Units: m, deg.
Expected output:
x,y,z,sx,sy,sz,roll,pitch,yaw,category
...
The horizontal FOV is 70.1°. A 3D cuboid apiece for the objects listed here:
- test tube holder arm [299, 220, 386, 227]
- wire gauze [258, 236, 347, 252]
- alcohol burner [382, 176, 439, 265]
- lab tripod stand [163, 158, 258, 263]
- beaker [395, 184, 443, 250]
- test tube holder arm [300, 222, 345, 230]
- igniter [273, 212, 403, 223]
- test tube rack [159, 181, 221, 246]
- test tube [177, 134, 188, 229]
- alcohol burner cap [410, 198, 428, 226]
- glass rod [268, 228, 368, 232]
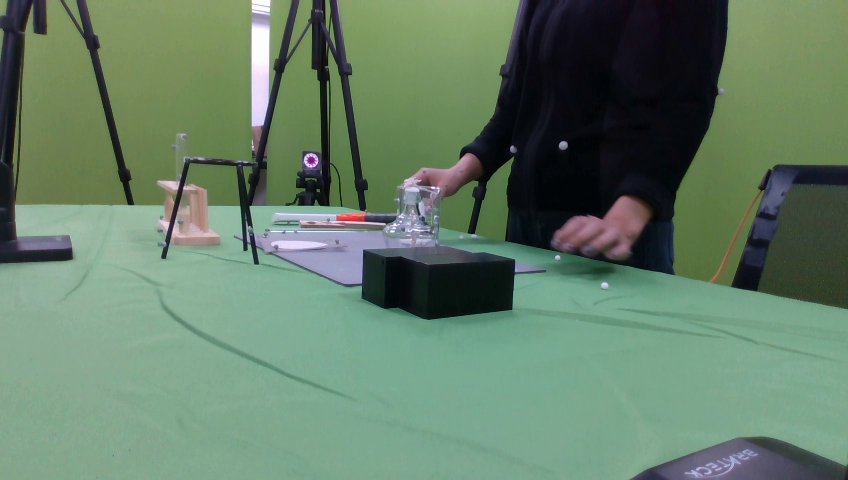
x,y,z,sx,sy,sz,roll,pitch,yaw,category
-0.159,-0.032,1.196,0.179,0.015,0.013,-2,44,-29,test tube holder arm
-0.189,0.005,0.931,0.122,0.011,0.124,1,7,-21,wire gauze
-0.018,-0.027,0.818,0.078,0.119,0.078,3,10,0,alcohol burner
-0.265,-0.041,0.802,0.148,0.131,0.148,4,6,0,lab tripod stand
-0.007,-0.037,0.965,0.074,0.100,0.083,-4,11,-40,beaker
-0.196,-0.027,1.170,0.088,0.015,0.010,-1,43,-29,test tube holder arm
-0.179,-0.048,1.290,0.278,0.025,0.057,-1,-2,-24,igniter
-0.395,-0.050,1.010,0.067,0.085,0.241,-2,8,-28,test tube rack
-0.374,-0.089,0.938,0.017,0.150,0.017,2,4,0,test tube
-0.010,-0.050,1.065,0.034,0.048,0.034,-2,-7,0,alcohol burner cap
-0.193,-0.018,1.128,0.201,0.008,0.008,0,7,-35,glass rod
